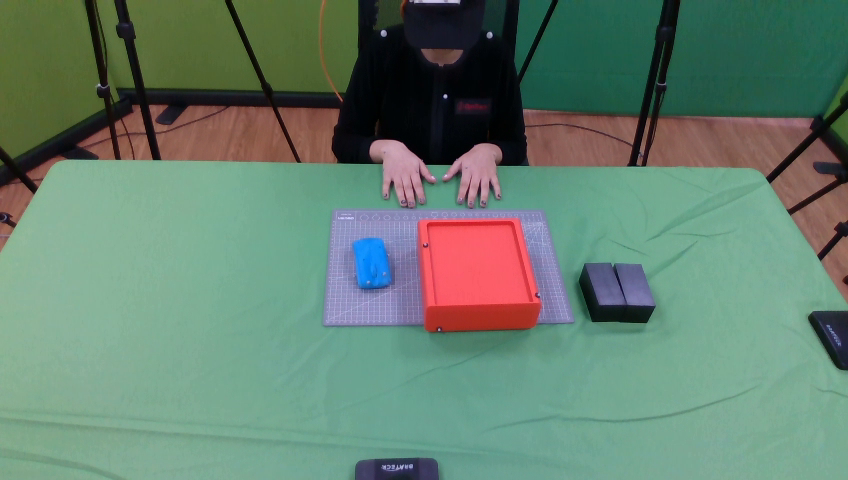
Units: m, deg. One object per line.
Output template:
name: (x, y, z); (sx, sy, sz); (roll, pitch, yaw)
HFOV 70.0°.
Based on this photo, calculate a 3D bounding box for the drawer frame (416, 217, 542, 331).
drawer frame: (0.093, 0.056, 1.106); (0.202, 0.083, 0.212); (-1, 47, -6)

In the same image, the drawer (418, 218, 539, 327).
drawer: (0.092, 0.055, 1.108); (0.195, 0.073, 0.210); (0, 47, -6)

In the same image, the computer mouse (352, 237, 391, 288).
computer mouse: (-0.100, 0.039, 1.140); (0.063, 0.041, 0.116); (-4, 51, -11)
